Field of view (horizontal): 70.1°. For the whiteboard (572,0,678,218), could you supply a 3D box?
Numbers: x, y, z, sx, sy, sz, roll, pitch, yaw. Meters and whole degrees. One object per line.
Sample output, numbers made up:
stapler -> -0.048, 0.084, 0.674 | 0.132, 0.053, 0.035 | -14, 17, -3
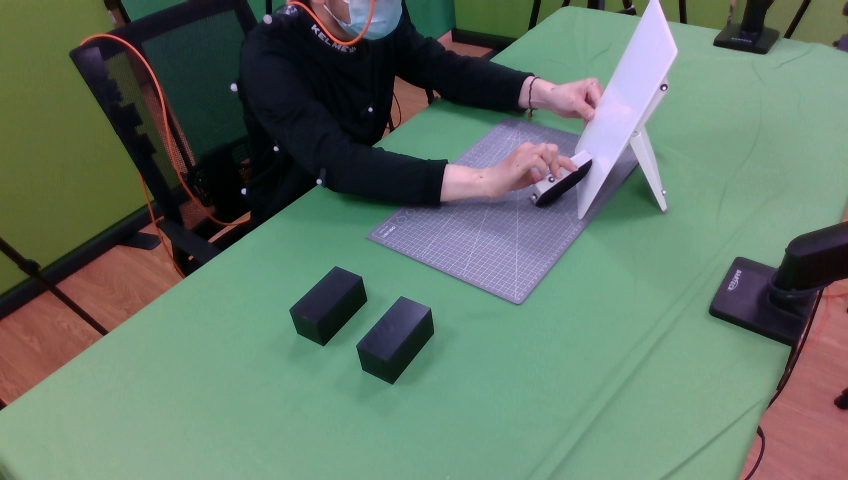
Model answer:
whiteboard -> 0.367, -0.188, 0.965 | 0.144, 0.305, 0.216 | 18, 42, -3

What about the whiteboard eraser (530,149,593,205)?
whiteboard eraser -> 0.232, -0.103, 1.007 | 0.113, 0.055, 0.041 | -36, 78, -12
